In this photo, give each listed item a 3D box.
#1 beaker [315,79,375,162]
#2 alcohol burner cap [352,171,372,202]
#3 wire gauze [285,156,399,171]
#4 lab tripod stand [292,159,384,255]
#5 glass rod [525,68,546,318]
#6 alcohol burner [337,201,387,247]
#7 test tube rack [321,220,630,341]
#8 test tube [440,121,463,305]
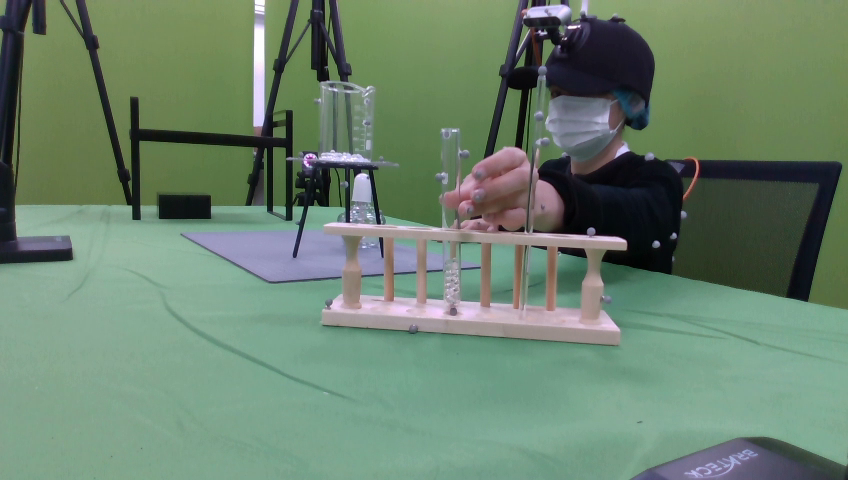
[{"bbox_3d":[-0.100,-0.151,0.778,0.074,0.100,0.083,-3,8,-38],"label":"beaker"},{"bbox_3d":[-0.096,-0.084,0.951,0.034,0.048,0.034,5,5,0],"label":"alcohol burner cap"},{"bbox_3d":[-0.102,-0.103,0.787,0.121,0.011,0.125,5,4,6],"label":"wire gauze"},{"bbox_3d":[-0.105,-0.039,0.797,0.148,0.131,0.148,2,5,0],"label":"lab tripod stand"},{"bbox_3d":[0.087,-0.030,0.472,0.008,0.199,0.008,1,13,0],"label":"glass rod"},{"bbox_3d":[-0.098,-0.049,0.954,0.078,0.119,0.078,0,7,0],"label":"alcohol burner"},{"bbox_3d":[0.041,0.029,0.511,0.242,0.085,0.067,3,7,5],"label":"test tube rack"},{"bbox_3d":[0.022,-0.019,0.487,0.017,0.150,0.017,-2,14,1],"label":"test tube"}]
